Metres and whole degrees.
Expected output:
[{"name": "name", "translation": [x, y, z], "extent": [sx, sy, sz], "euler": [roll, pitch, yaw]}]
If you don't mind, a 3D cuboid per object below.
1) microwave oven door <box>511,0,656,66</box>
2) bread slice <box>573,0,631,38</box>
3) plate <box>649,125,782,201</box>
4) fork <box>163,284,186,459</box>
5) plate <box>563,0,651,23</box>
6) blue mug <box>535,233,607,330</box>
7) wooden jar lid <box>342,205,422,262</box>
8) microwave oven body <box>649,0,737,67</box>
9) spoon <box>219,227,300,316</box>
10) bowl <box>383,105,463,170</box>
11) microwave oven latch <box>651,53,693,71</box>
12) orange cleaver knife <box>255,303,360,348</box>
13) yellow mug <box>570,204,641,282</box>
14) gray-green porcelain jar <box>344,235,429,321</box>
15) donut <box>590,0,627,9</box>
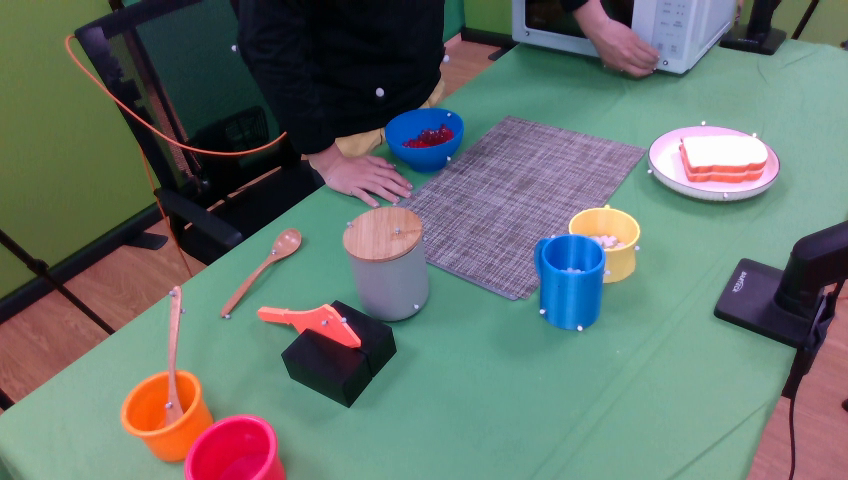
[{"name": "microwave oven door", "translation": [0.351, -0.539, 1.349], "extent": [0.353, 0.245, 0.039], "euler": [24, 50, 31]}, {"name": "bread slice", "translation": [0.428, -0.557, 1.479], "extent": [0.105, 0.019, 0.131], "euler": [-27, 69, -19]}, {"name": "plate", "translation": [0.493, -0.128, 1.036], "extent": [0.207, 0.039, 0.206], "euler": [-4, 41, 4]}, {"name": "fork", "translation": [-0.303, 0.157, 0.734], "extent": [0.028, 0.019, 0.207], "euler": [-3, 84, 13]}, {"name": "plate", "translation": [0.440, -0.573, 1.455], "extent": [0.209, 0.038, 0.208], "euler": [-6, 43, 6]}, {"name": "blue mug", "translation": [0.191, 0.048, 0.825], "extent": [0.082, 0.106, 0.115], "euler": [-26, 44, -20]}, {"name": "wooden jar lid", "translation": [-0.055, -0.006, 0.809], "extent": [0.108, 0.021, 0.108], "euler": [-6, 41, 6]}, {"name": "microwave oven body", "translation": [0.475, -0.602, 1.412], "extent": [0.438, 0.261, 0.327], "euler": [23, 50, 32]}, {"name": "spoon", "translation": [-0.261, 0.046, 0.954], "extent": [0.041, 0.021, 0.194], "euler": [27, 48, 10]}, {"name": "bowl", "translation": [0.002, -0.185, 1.143], "extent": [0.151, 0.077, 0.150], "euler": [-4, 40, 4]}, {"name": "microwave oven latch", "translation": [0.533, -0.387, 1.302], "extent": [0.078, 0.029, 0.030], "euler": [29, 53, 35]}, {"name": "orange cleaver knife", "translation": [-0.161, 0.115, 0.813], "extent": [0.210, 0.077, 0.012], "euler": [-4, 32, 46]}, {"name": "yellow mug", "translation": [0.268, -0.005, 0.904], "extent": [0.099, 0.064, 0.130], "euler": [7, 41, 15]}, {"name": "gray-green porcelain jar", "translation": [-0.049, 0.042, 0.850], "extent": [0.106, 0.127, 0.105], "euler": [-4, 41, 4]}, {"name": "donut", "translation": [0.438, -0.586, 1.433], "extent": [0.099, 0.048, 0.098], "euler": [-2, 53, 3]}]
